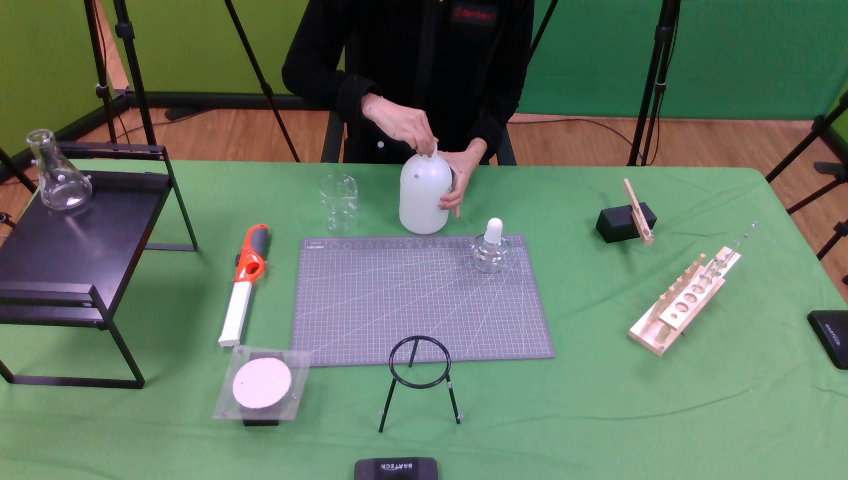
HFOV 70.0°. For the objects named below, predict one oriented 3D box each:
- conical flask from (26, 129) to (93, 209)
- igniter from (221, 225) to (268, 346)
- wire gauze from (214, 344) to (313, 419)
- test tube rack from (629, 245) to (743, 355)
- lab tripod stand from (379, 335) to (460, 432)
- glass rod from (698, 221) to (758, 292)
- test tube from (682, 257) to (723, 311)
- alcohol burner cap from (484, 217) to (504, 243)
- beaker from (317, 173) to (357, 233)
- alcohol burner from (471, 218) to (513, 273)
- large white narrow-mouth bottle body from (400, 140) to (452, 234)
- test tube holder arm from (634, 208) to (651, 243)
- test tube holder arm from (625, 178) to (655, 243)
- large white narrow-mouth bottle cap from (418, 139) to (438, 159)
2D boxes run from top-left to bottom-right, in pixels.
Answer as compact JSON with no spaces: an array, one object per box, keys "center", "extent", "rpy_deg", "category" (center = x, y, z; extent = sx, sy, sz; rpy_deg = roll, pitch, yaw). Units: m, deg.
[{"center":[-0.575,-0.113,0.946],"extent":[0.075,0.122,0.075],"rpy_deg":[2,46,-2],"category":"conical flask"},{"center":[-0.323,0.072,1.100],"extent":[0.057,0.025,0.274],"rpy_deg":[-6,45,5],"category":"igniter"},{"center":[-0.241,0.213,0.916],"extent":[0.121,0.011,0.124],"rpy_deg":[5,46,1],"category":"wire gauze"},{"center":[0.474,0.095,1.091],"extent":[0.242,0.085,0.066],"rpy_deg":[-34,57,-31],"category":"test tube rack"},{"center":[-0.011,0.214,0.912],"extent":[0.148,0.132,0.147],"rpy_deg":[1,45,0],"category":"lab tripod stand"},{"center":[0.527,0.035,1.059],"extent":[0.008,0.200,0.008],"rpy_deg":[5,49,-6],"category":"glass rod"},{"center":[0.475,0.080,1.037],"extent":[0.017,0.151,0.017],"rpy_deg":[1,50,-1],"category":"test tube"},{"center":[0.129,-0.021,1.107],"extent":[0.034,0.048,0.033],"rpy_deg":[4,39,-3],"category":"alcohol burner cap"},{"center":[-0.166,-0.070,1.198],"extent":[0.083,0.101,0.074],"rpy_deg":[25,50,18],"category":"beaker"},{"center":[0.128,0.005,1.132],"extent":[0.078,0.120,0.077],"rpy_deg":[0,47,0],"category":"alcohol burner"},{"center":[0.005,-0.110,1.182],"extent":[0.102,0.195,0.101],"rpy_deg":[2,47,-2],"category":"large white narrow-mouth bottle body"},{"center":[0.428,-0.030,1.189],"extent":[0.010,0.015,0.087],"rpy_deg":[1,47,-2],"category":"test tube holder arm"},{"center":[0.433,-0.062,1.220],"extent":[0.013,0.015,0.177],"rpy_deg":[0,47,-2],"category":"test tube holder arm"},{"center":[0.008,-0.168,1.119],"extent":[0.038,0.024,0.037],"rpy_deg":[2,47,-2],"category":"large white narrow-mouth bottle cap"}]
